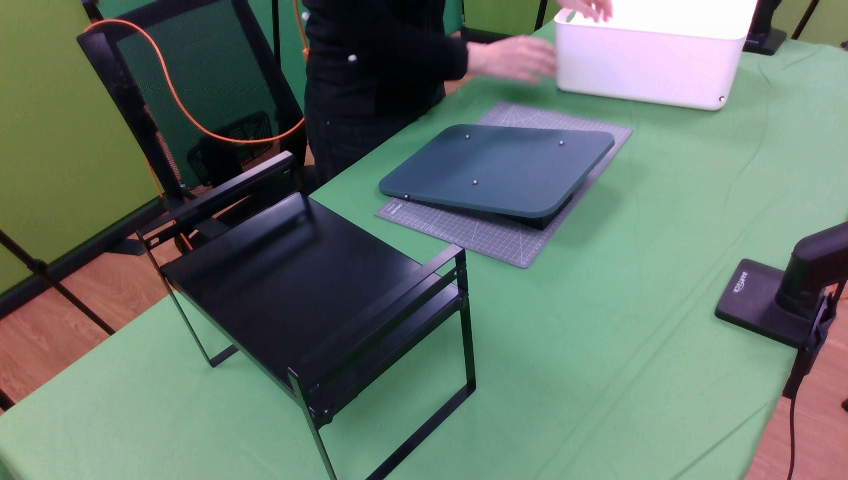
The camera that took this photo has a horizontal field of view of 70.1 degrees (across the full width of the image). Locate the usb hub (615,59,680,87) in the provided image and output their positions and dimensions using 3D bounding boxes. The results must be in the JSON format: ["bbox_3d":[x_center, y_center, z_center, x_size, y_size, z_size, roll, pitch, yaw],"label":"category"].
[{"bbox_3d":[0.484,-0.363,1.311,0.124,0.025,0.049,20,47,27],"label":"usb hub"}]

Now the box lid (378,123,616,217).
[{"bbox_3d":[0.119,-0.136,1.071,0.368,0.015,0.264,12,43,38],"label":"box lid"}]

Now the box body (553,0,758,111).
[{"bbox_3d":[0.480,-0.417,1.281,0.362,0.161,0.254,15,46,24],"label":"box body"}]
